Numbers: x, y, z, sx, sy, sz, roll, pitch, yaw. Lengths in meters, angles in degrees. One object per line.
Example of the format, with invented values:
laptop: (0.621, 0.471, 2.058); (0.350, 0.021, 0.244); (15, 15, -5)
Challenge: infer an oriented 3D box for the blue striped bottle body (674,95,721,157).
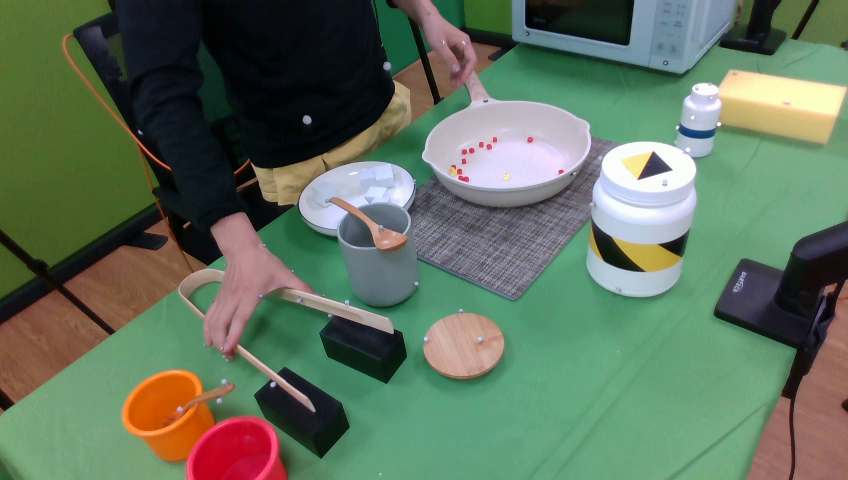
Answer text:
blue striped bottle body: (0.486, -0.213, 1.072); (0.063, 0.121, 0.063); (-4, 41, 4)

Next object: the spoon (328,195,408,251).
spoon: (-0.083, -0.029, 0.829); (0.042, 0.022, 0.192); (-31, 42, -22)

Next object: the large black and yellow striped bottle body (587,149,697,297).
large black and yellow striped bottle body: (0.298, -0.026, 0.835); (0.131, 0.185, 0.130); (-4, 41, 4)

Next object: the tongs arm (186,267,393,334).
tongs arm: (-0.204, 0.086, 0.846); (0.381, 0.027, 0.051); (13, 46, 36)

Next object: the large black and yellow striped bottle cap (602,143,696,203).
large black and yellow striped bottle cap: (0.289, -0.088, 0.779); (0.115, 0.019, 0.114); (-5, 39, 4)

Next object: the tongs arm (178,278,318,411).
tongs arm: (-0.249, 0.129, 0.806); (0.028, 0.028, 0.384); (-42, 41, -24)

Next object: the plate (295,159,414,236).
plate: (-0.118, -0.070, 1.055); (0.207, 0.039, 0.206); (-5, 39, 5)

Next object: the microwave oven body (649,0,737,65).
microwave oven body: (0.475, -0.602, 1.411); (0.438, 0.261, 0.327); (23, 50, 32)

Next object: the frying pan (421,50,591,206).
frying pan: (0.127, -0.233, 1.154); (0.307, 0.103, 0.484); (-11, 49, -5)

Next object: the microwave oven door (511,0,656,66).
microwave oven door: (0.351, -0.540, 1.349); (0.353, 0.245, 0.039); (24, 50, 31)

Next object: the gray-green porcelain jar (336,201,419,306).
gray-green porcelain jar: (-0.064, 0.024, 0.872); (0.106, 0.127, 0.105); (-4, 41, 4)

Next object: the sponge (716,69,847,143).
sponge: (0.663, -0.256, 1.142); (0.205, 0.061, 0.118); (19, 47, 28)

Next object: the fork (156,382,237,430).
fork: (-0.262, 0.189, 0.690); (0.206, 0.018, 0.028); (-34, 9, 42)

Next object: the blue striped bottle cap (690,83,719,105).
blue striped bottle cap: (0.481, -0.251, 1.038); (0.044, 0.021, 0.044); (-5, 39, 5)

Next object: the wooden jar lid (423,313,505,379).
wooden jar lid: (0.053, 0.142, 0.800); (0.108, 0.021, 0.108); (-4, 39, 4)

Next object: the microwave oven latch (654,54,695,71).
microwave oven latch: (0.538, -0.388, 1.302); (0.030, 0.029, 0.078); (-30, 45, -23)
